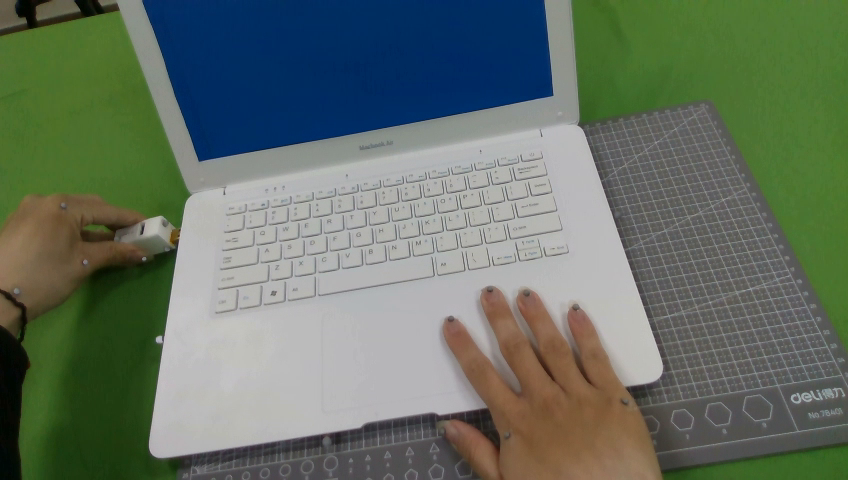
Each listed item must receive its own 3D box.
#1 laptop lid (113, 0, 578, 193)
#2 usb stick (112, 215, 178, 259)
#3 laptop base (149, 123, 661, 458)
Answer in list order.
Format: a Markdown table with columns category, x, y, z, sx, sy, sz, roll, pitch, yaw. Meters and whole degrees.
| category | x | y | z | sx | sy | sz | roll | pitch | yaw |
| --- | --- | --- | --- | --- | --- | --- | --- | --- | --- |
| laptop lid | -0.061 | -0.171 | 0.487 | 0.356 | 0.243 | 0.013 | -11 | 25 | 4 |
| usb stick | -0.232 | -0.004 | 0.518 | 0.059 | 0.027 | 0.021 | -13 | 54 | 7 |
| laptop base | -0.028 | 0.027 | 0.471 | 0.354 | 0.023 | 0.233 | -10 | 58 | 4 |
